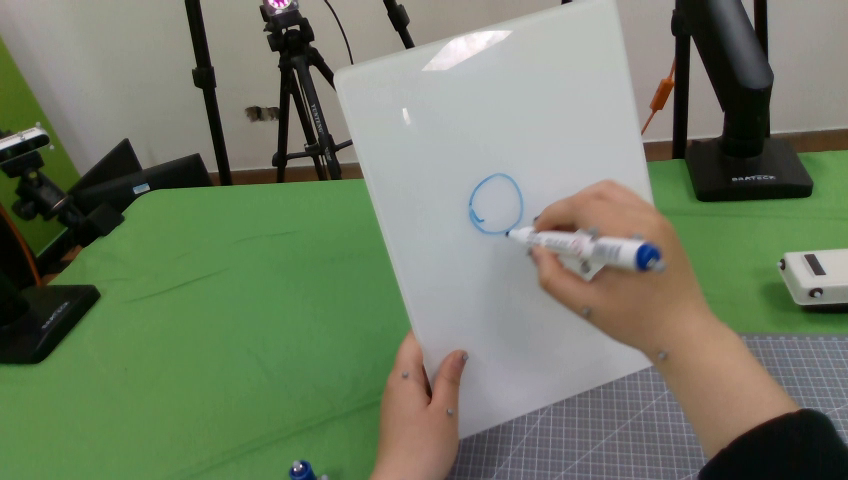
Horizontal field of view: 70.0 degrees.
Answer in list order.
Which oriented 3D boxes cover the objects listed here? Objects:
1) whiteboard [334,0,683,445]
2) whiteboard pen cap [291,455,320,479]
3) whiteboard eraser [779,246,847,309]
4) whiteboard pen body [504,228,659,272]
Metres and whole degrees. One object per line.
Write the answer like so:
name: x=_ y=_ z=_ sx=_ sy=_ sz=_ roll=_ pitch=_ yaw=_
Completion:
whiteboard: x=0.068 y=-0.023 z=0.529 sx=0.217 sy=0.307 sz=0.143 roll=-18 pitch=16 yaw=-7
whiteboard pen cap: x=-0.092 y=0.184 z=0.473 sx=0.018 sy=0.033 sz=0.018 roll=-7 pitch=37 yaw=6
whiteboard eraser: x=0.381 y=0.032 z=0.532 sx=0.112 sy=0.042 sz=0.055 roll=-3 pitch=39 yaw=12
whiteboard pen body: x=0.090 y=0.003 z=0.383 sx=0.017 sy=0.017 sz=0.140 roll=-28 pitch=18 yaw=-21
